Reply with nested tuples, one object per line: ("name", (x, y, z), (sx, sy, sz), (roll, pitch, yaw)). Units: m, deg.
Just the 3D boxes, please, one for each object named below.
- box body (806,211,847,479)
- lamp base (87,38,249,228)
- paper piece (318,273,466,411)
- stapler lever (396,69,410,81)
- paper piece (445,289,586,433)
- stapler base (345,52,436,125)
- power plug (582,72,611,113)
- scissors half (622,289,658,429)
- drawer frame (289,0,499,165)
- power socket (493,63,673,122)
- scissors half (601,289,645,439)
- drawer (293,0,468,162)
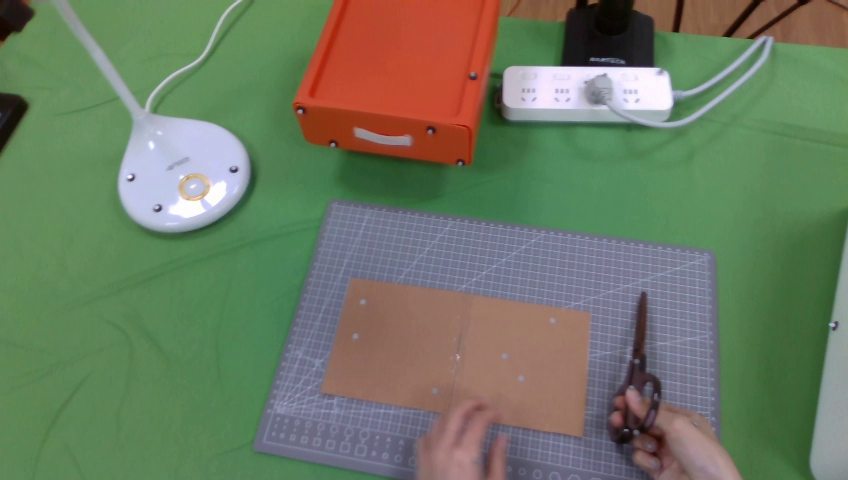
("box body", (0.523, 0.090, 0.541), (0.253, 0.161, 0.362), (21, 66, 13))
("lamp base", (-0.311, -0.129, 0.687), (0.178, 0.182, 0.160), (40, 71, 24))
("paper piece", (-0.032, 0.104, 0.647), (0.136, 0.009, 0.137), (7, 64, 10))
("stapler lever", (-0.053, -0.195, 0.707), (0.117, 0.040, 0.027), (38, 86, 24))
("paper piece", (0.098, 0.122, 0.630), (0.135, 0.004, 0.135), (8, 64, 8))
("stapler base", (-0.044, -0.188, 0.731), (0.129, 0.024, 0.041), (38, 87, 23))
("power plug", (0.209, -0.174, 0.741), (0.035, 0.053, 0.072), (13, 64, 9))
("scissors half", (0.214, 0.109, 0.598), (0.013, 0.040, 0.174), (31, 41, -7))
("drawer frame", (-0.027, -0.208, 0.720), (0.201, 0.083, 0.212), (9, 63, 8))
("power socket", (0.203, -0.189, 0.776), (0.226, 0.033, 0.071), (3, 63, 4))
("scissors half", (0.207, 0.120, 0.615), (0.013, 0.040, 0.174), (28, 60, -3))
("drawer", (-0.026, -0.206, 0.719), (0.194, 0.074, 0.210), (9, 63, 8))
